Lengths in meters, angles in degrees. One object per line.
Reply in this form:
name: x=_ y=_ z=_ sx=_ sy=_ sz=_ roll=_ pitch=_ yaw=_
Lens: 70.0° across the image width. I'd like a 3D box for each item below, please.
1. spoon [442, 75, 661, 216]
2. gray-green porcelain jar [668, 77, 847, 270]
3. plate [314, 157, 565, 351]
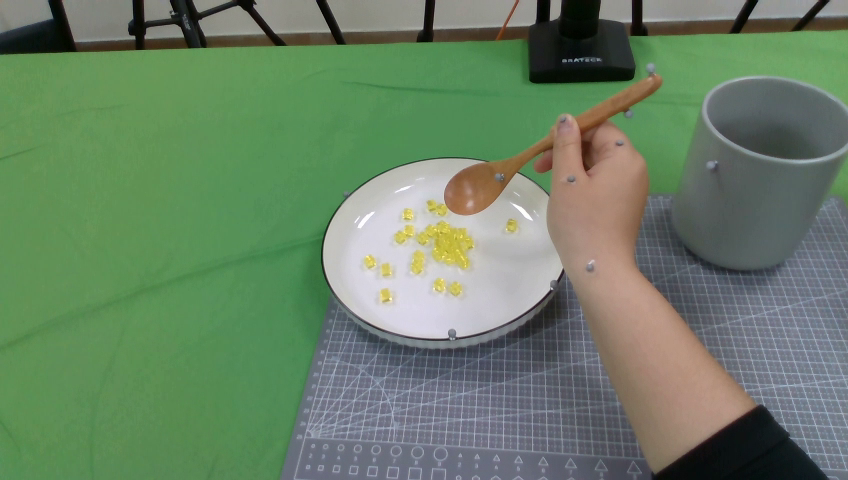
spoon: x=0.087 y=-0.068 z=0.458 sx=0.022 sy=0.193 sz=0.041 roll=2 pitch=67 yaw=-46
gray-green porcelain jar: x=0.258 y=-0.047 z=0.483 sx=0.106 sy=0.128 sz=0.105 roll=-3 pitch=47 yaw=4
plate: x=0.013 y=0.010 z=0.517 sx=0.207 sy=0.039 sz=0.205 roll=-3 pitch=48 yaw=3
